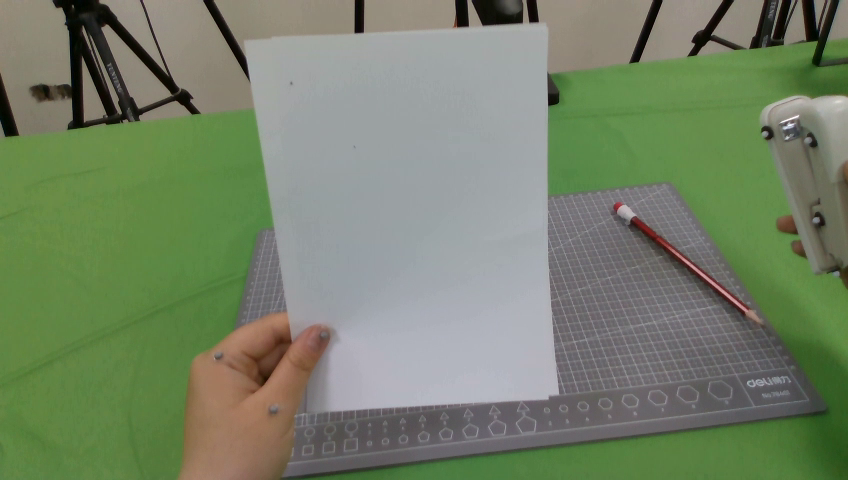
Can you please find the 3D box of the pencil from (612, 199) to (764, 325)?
[{"bbox_3d":[0.235,0.015,0.556,0.012,0.012,0.192,-19,41,-15],"label":"pencil"}]

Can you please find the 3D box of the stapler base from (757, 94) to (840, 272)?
[{"bbox_3d":[0.283,-0.042,0.435,0.041,0.130,0.024,-21,1,3],"label":"stapler base"}]

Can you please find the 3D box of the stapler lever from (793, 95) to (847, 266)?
[{"bbox_3d":[0.283,-0.041,0.410,0.027,0.118,0.040,-21,1,4],"label":"stapler lever"}]
